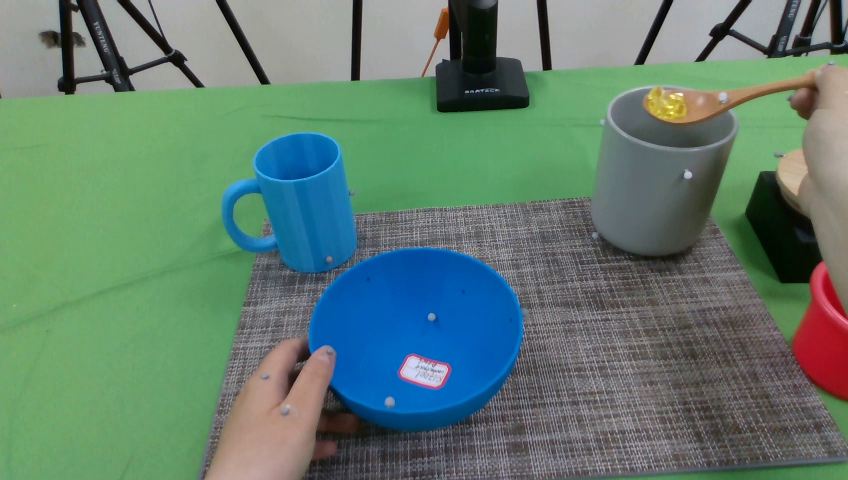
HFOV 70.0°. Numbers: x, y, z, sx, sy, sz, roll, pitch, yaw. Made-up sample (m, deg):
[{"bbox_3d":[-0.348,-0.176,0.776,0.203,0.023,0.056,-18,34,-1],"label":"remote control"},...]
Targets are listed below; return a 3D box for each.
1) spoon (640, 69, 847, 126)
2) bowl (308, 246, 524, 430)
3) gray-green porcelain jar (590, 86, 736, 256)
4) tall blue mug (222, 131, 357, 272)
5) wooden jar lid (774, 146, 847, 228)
[{"bbox_3d":[0.259,-0.109,0.439,0.193,0.022,0.041,-6,45,23],"label":"spoon"},{"bbox_3d":[-0.004,0.083,0.446,0.151,0.077,0.150,-2,42,2],"label":"bowl"},{"bbox_3d":[0.209,-0.058,0.549,0.106,0.128,0.105,-2,42,2],"label":"gray-green porcelain jar"},{"bbox_3d":[-0.118,-0.027,0.552,0.077,0.109,0.107,32,53,32],"label":"tall blue mug"},{"bbox_3d":[0.367,-0.046,0.535,0.108,0.021,0.107,-3,42,3],"label":"wooden jar lid"}]
